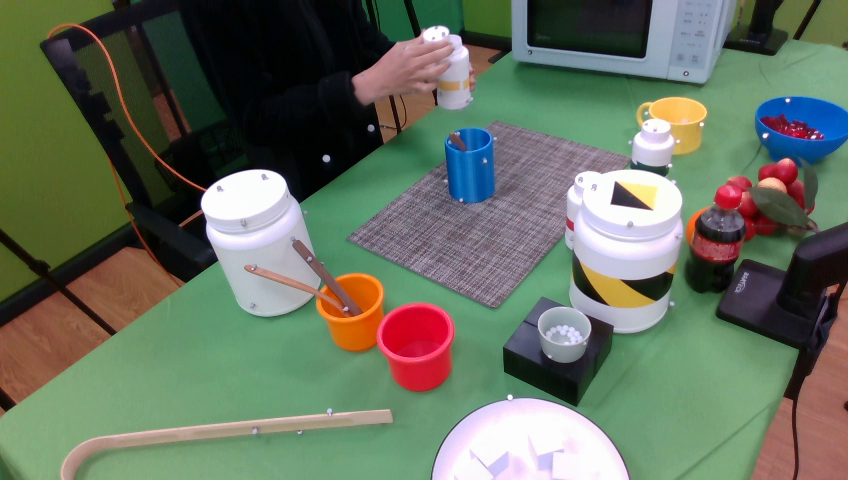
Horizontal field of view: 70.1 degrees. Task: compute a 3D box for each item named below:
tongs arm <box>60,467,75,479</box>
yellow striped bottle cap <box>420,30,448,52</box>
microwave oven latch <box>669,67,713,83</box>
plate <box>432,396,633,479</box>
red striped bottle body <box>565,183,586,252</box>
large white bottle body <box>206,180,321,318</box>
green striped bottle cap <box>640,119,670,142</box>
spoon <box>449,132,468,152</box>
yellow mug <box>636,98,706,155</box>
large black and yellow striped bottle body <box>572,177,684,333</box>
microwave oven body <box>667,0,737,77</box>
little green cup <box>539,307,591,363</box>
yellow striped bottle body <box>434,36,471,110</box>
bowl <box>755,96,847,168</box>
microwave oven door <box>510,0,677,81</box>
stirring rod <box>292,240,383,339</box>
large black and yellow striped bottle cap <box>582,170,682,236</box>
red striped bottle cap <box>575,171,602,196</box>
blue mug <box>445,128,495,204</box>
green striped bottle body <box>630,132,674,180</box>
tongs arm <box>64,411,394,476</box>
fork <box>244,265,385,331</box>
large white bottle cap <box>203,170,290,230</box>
[{"bbox_3d":[-0.239,0.301,0.648,0.386,0.028,0.028,6,49,16],"label":"tongs arm"},{"bbox_3d":[0.016,-0.328,0.997,0.044,0.019,0.044,-3,47,4],"label":"yellow striped bottle cap"},{"bbox_3d":[0.556,-0.348,1.261,0.078,0.029,0.030,16,46,27],"label":"microwave oven latch"},{"bbox_3d":[0.112,0.261,0.634,0.209,0.038,0.208,-5,40,4],"label":"plate"},{"bbox_3d":[0.247,-0.041,0.910,0.063,0.120,0.062,-3,39,3],"label":"red striped bottle body"},{"bbox_3d":[-0.233,0.008,0.876,0.130,0.185,0.130,-5,40,4],"label":"large white bottle body"},{"bbox_3d":[0.371,-0.175,0.968,0.044,0.020,0.044,-4,41,4],"label":"green striped bottle cap"},{"bbox_3d":[0.067,-0.143,0.998,0.041,0.195,0.021,9,79,18],"label":"spoon"},{"bbox_3d":[0.453,-0.217,1.128,0.100,0.064,0.129,-34,46,-27],"label":"yellow mug"},{"bbox_3d":[0.262,0.017,0.788,0.131,0.185,0.130,-5,40,4],"label":"large black and yellow striped bottle body"},{"bbox_3d":[0.462,-0.552,1.369,0.439,0.261,0.326,15,45,26],"label":"microwave oven body"},{"bbox_3d":[0.167,0.114,0.721,0.061,0.039,0.061,-4,43,4],"label":"little green cup"},{"bbox_3d":[0.051,-0.298,1.078,0.063,0.121,0.062,-3,42,3],"label":"yellow striped bottle body"},{"bbox_3d":[0.645,-0.177,1.041,0.151,0.077,0.150,-5,40,4],"label":"bowl"},{"bbox_3d":[0.354,-0.478,1.290,0.353,0.245,0.039,15,45,25],"label":"microwave oven door"},{"bbox_3d":[-0.118,0.068,0.826,0.176,0.006,0.014,49,59,-4],"label":"stirring rod"},{"bbox_3d":[0.252,-0.048,0.735,0.115,0.019,0.114,-3,40,3],"label":"large black and yellow striped bottle cap"},{"bbox_3d":[0.242,-0.081,0.876,0.044,0.018,0.044,-5,44,5],"label":"red striped bottle cap"},{"bbox_3d":[0.081,-0.139,1.058,0.082,0.106,0.116,-4,40,4],"label":"blue mug"},{"bbox_3d":[0.376,-0.135,1.001,0.063,0.120,0.063,-5,40,5],"label":"green striped bottle body"},{"bbox_3d":[-0.228,0.241,0.715,0.385,0.026,0.050,-5,43,4],"label":"tongs arm"},{"bbox_3d":[-0.142,0.078,0.806,0.209,0.018,0.028,30,32,-23],"label":"fork"},{"bbox_3d":[-0.241,-0.057,0.822,0.115,0.018,0.114,-4,40,4],"label":"large white bottle cap"}]
